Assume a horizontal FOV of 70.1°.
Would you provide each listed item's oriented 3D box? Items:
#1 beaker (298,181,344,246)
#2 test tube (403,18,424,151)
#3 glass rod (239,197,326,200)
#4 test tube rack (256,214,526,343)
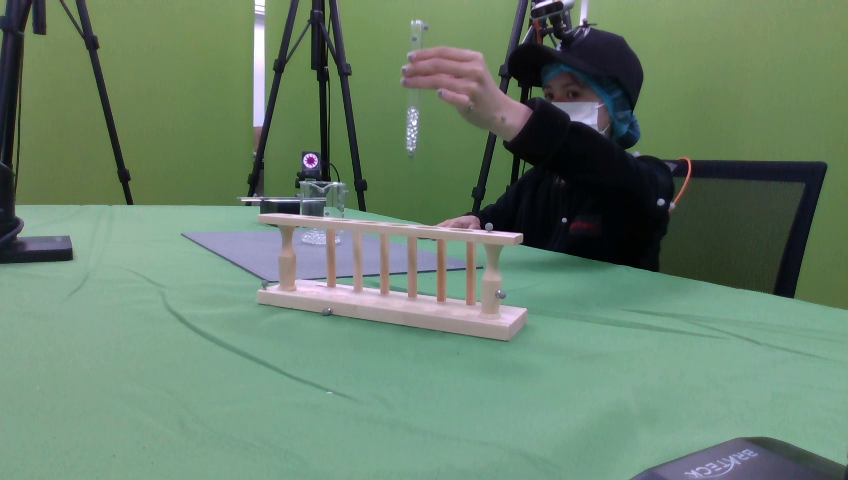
[{"bbox_3d":[-0.166,-0.043,0.972,0.074,0.100,0.084,1,8,-10],"label":"beaker"},{"bbox_3d":[-0.013,-0.180,0.705,0.017,0.150,0.017,4,11,0],"label":"test tube"},{"bbox_3d":[-0.287,-0.087,1.250,0.201,0.008,0.008,-4,10,-42],"label":"glass rod"},{"bbox_3d":[-0.032,0.027,0.547,0.241,0.085,0.067,6,7,22],"label":"test tube rack"}]
